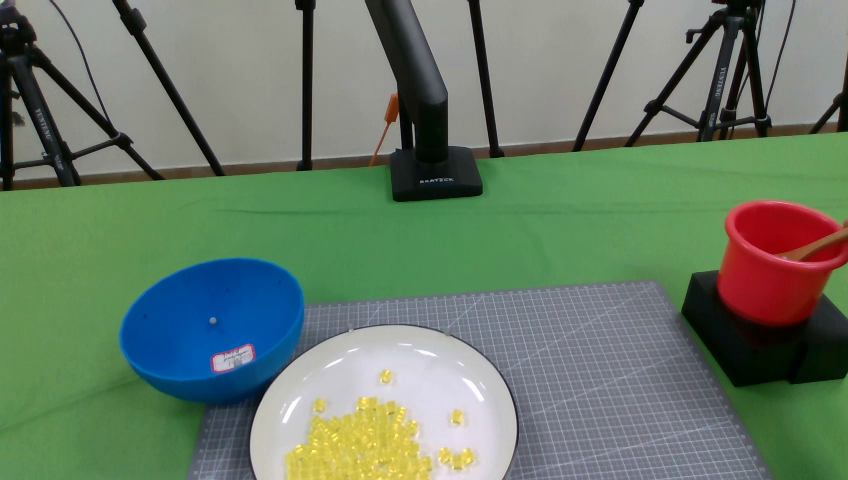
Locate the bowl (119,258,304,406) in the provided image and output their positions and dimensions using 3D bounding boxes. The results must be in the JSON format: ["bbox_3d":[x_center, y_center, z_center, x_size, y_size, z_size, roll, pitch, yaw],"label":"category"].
[{"bbox_3d":[-0.177,0.092,0.536,0.151,0.077,0.150,-1,36,1],"label":"bowl"}]

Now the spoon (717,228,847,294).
[{"bbox_3d":[0.339,0.003,0.498,0.193,0.022,0.041,-33,22,39],"label":"spoon"}]

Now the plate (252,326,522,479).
[{"bbox_3d":[-0.028,0.153,0.481,0.208,0.039,0.205,-1,36,1],"label":"plate"}]
